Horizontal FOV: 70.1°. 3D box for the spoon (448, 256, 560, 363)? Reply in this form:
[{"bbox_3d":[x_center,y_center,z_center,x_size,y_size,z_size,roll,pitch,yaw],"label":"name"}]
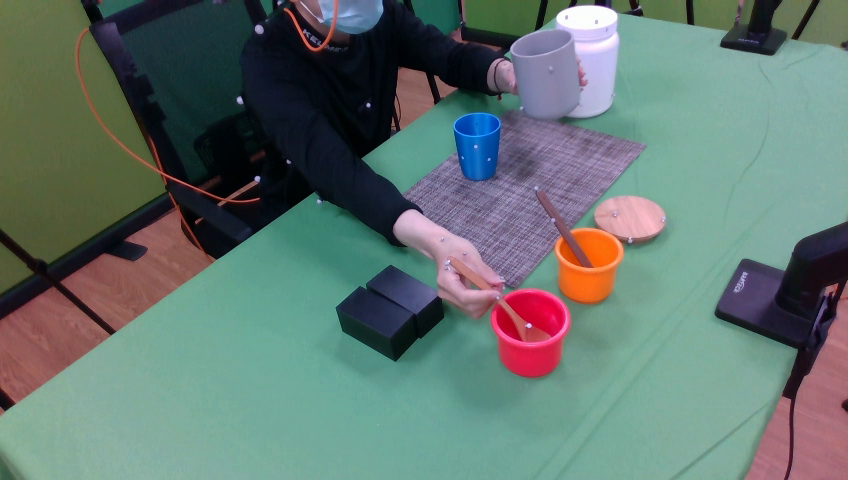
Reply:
[{"bbox_3d":[0.102,0.085,0.765,0.041,0.194,0.021,-51,13,-33],"label":"spoon"}]

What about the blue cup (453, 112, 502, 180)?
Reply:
[{"bbox_3d":[0.098,-0.165,1.088,0.092,0.100,0.092,-4,39,3],"label":"blue cup"}]

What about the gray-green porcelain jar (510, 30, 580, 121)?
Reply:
[{"bbox_3d":[0.209,-0.278,1.036,0.105,0.127,0.105,-12,37,10],"label":"gray-green porcelain jar"}]

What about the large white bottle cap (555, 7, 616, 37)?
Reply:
[{"bbox_3d":[0.311,-0.420,1.163,0.115,0.018,0.114,-4,40,4],"label":"large white bottle cap"}]

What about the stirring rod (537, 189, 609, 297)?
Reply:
[{"bbox_3d":[0.210,0.004,0.855,0.014,0.006,0.176,-32,89,-31],"label":"stirring rod"}]

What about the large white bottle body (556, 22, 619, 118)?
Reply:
[{"bbox_3d":[0.321,-0.356,1.218,0.130,0.185,0.130,-4,41,4],"label":"large white bottle body"}]

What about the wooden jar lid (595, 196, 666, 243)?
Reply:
[{"bbox_3d":[0.329,-0.032,0.967,0.108,0.021,0.108,-3,41,4],"label":"wooden jar lid"}]
